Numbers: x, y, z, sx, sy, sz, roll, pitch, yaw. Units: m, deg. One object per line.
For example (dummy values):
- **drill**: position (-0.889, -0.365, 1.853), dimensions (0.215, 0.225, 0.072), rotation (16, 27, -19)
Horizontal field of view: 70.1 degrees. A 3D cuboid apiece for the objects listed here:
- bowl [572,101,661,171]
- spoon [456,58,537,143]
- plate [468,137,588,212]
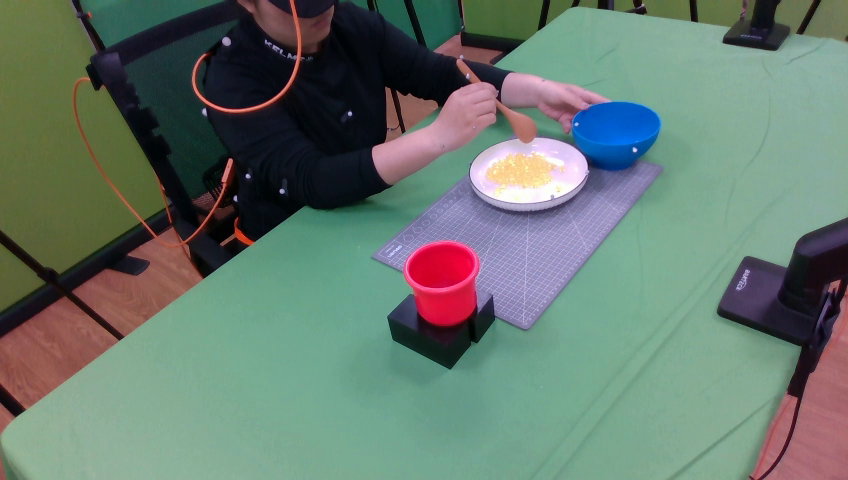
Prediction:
- **bowl**: position (0.339, -0.177, 1.079), dimensions (0.151, 0.077, 0.150), rotation (-5, 40, 5)
- **spoon**: position (0.121, -0.230, 1.003), dimensions (0.041, 0.195, 0.021), rotation (-53, 20, -4)
- **plate**: position (0.182, -0.112, 1.064), dimensions (0.207, 0.039, 0.206), rotation (-5, 40, 5)
